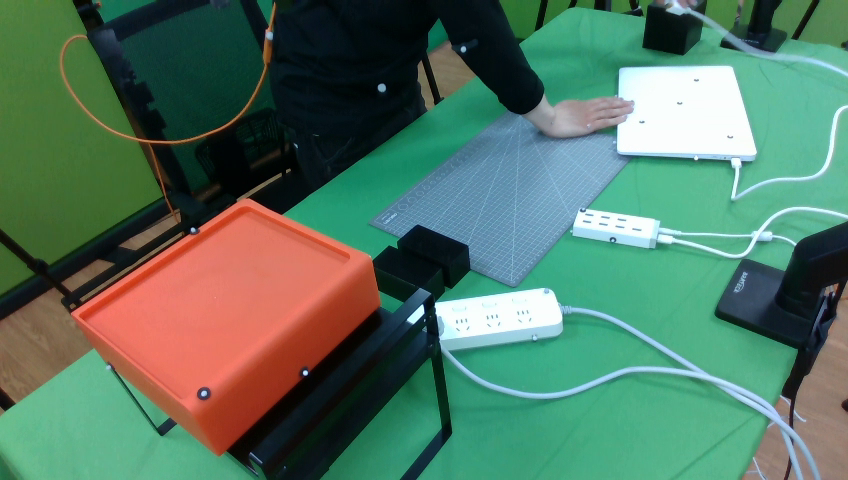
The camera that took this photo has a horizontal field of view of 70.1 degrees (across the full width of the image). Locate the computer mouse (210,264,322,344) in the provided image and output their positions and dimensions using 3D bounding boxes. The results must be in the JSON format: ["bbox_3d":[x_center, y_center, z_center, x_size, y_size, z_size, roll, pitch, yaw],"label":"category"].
[{"bbox_3d":[-0.165,0.062,0.624,0.116,0.041,0.063,22,44,27],"label":"computer mouse"}]

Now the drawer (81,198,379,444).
[{"bbox_3d":[-0.185,0.065,0.600,0.193,0.073,0.212,24,49,31],"label":"drawer"}]

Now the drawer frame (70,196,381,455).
[{"bbox_3d":[-0.186,0.068,0.597,0.200,0.083,0.214,23,49,30],"label":"drawer frame"}]

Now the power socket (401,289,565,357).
[{"bbox_3d":[0.081,0.112,0.822,0.227,0.033,0.072,-7,40,-1],"label":"power socket"}]

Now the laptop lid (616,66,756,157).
[{"bbox_3d":[0.503,-0.265,1.196,0.241,0.013,0.356,5,41,16],"label":"laptop lid"}]

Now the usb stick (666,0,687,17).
[{"bbox_3d":[0.536,-0.501,1.292,0.059,0.027,0.021,3,-12,-39],"label":"usb stick"}]

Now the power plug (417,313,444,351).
[{"bbox_3d":[0.007,0.127,0.786,0.035,0.053,0.072,0,43,8],"label":"power plug"}]

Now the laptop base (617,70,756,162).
[{"bbox_3d":[0.507,-0.254,1.205,0.235,0.023,0.353,3,40,15],"label":"laptop base"}]

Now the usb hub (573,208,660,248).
[{"bbox_3d":[0.302,-0.019,0.949,0.124,0.025,0.049,11,43,20],"label":"usb hub"}]
